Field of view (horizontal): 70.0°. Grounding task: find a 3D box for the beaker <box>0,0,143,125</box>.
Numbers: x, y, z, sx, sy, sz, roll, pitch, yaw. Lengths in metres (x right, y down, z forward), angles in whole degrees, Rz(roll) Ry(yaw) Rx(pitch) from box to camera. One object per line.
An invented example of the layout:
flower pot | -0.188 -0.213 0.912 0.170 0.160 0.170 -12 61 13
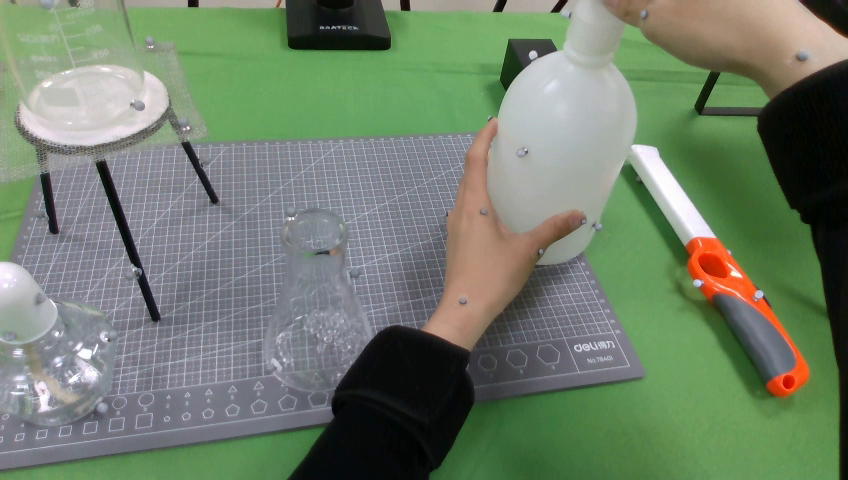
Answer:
beaker | -0.208 -0.123 0.342 0.084 0.101 0.073 -10 51 -17

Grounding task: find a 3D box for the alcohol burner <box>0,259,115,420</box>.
alcohol burner | -0.224 0.053 0.348 0.078 0.120 0.077 6 45 -5

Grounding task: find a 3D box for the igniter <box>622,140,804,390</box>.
igniter | 0.240 0.006 0.524 0.057 0.025 0.273 4 46 -20

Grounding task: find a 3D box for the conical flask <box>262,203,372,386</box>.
conical flask | -0.069 0.032 0.384 0.075 0.123 0.074 4 47 -4

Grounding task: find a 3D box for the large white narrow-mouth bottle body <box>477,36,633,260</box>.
large white narrow-mouth bottle body | 0.102 -0.080 0.464 0.102 0.196 0.101 4 47 -3

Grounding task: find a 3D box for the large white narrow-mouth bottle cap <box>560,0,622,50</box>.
large white narrow-mouth bottle cap | 0.109 -0.144 0.397 0.038 0.024 0.037 4 47 -4

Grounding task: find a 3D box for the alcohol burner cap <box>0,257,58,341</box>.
alcohol burner cap | -0.220 0.029 0.321 0.034 0.048 0.033 4 53 -5

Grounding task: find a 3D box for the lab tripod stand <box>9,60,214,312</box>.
lab tripod stand | -0.212 -0.042 0.424 0.148 0.132 0.147 6 47 -6

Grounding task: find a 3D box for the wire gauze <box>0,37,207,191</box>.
wire gauze | -0.209 -0.088 0.377 0.122 0.011 0.124 -17 56 -20
